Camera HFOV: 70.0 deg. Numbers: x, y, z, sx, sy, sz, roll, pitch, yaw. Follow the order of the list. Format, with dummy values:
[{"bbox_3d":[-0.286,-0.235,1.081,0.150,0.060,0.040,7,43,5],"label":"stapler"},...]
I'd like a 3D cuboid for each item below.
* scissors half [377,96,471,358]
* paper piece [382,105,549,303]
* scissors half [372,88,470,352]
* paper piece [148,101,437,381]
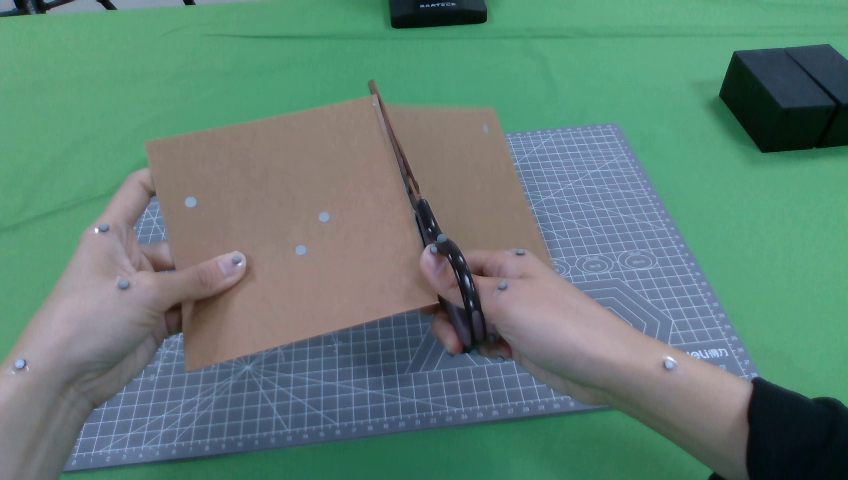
[{"bbox_3d":[-0.005,-0.013,0.362,0.013,0.040,0.174,-16,74,-5],"label":"scissors half"},{"bbox_3d":[0.033,-0.030,0.430,0.008,0.136,0.139,-18,-4,42],"label":"paper piece"},{"bbox_3d":[-0.006,-0.020,0.345,0.013,0.040,0.173,-19,65,0],"label":"scissors half"},{"bbox_3d":[-0.074,-0.006,0.338,0.136,0.004,0.134,-14,77,-10],"label":"paper piece"}]
